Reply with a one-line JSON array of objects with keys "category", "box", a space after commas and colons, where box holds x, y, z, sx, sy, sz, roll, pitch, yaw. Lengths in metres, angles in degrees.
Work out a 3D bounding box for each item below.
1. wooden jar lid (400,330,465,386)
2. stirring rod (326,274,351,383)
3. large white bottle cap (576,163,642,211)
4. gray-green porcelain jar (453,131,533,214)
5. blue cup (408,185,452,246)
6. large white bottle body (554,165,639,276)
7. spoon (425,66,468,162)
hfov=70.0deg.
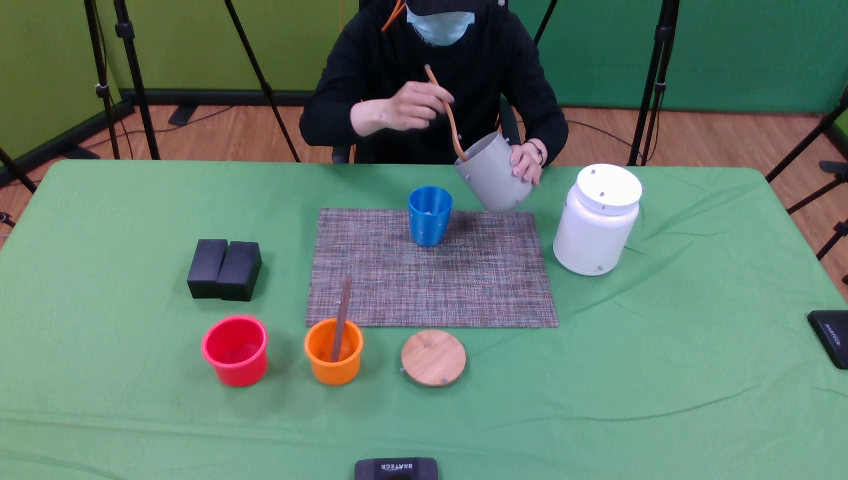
[{"category": "wooden jar lid", "box": [0.015, 0.198, 1.008, 0.108, 0.021, 0.107, 2, 47, -2]}, {"category": "stirring rod", "box": [-0.137, 0.142, 0.971, 0.014, 0.006, 0.176, 9, 89, 0]}, {"category": "large white bottle cap", "box": [0.330, -0.096, 1.080, 0.115, 0.018, 0.114, 2, 46, -2]}, {"category": "gray-green porcelain jar", "box": [0.133, -0.121, 1.125, 0.127, 0.106, 0.105, 51, 50, -14]}, {"category": "blue cup", "box": [0.008, -0.042, 1.176, 0.093, 0.101, 0.092, 3, 47, -3]}, {"category": "large white bottle body", "box": [0.326, -0.037, 1.141, 0.131, 0.185, 0.130, 2, 46, -2]}, {"category": "spoon", "box": [0.045, -0.224, 1.098, 0.021, 0.194, 0.041, -20, 13, 5]}]
